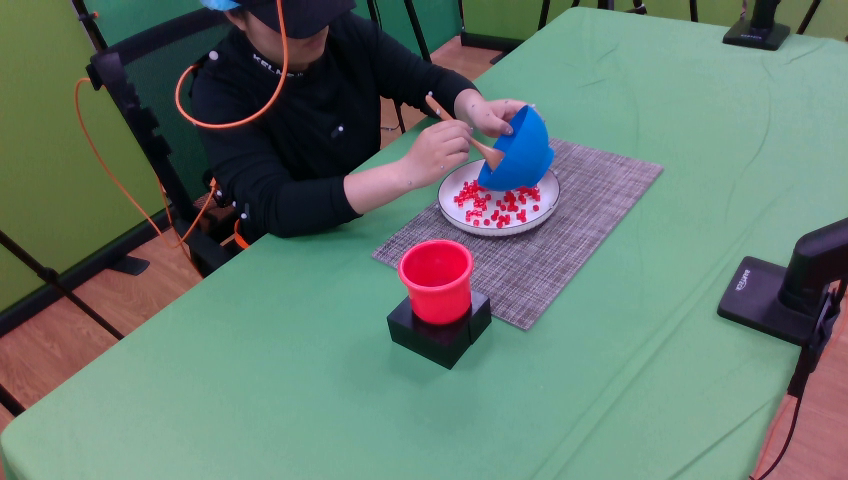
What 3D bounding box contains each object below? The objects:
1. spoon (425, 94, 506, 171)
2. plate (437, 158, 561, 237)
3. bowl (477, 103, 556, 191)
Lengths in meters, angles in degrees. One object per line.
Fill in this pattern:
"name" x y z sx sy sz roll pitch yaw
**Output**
"spoon" 0.073 -0.165 0.969 0.041 0.195 0.021 -57 16 -14
"plate" 0.127 -0.069 1.023 0.207 0.039 0.206 -5 40 5
"bowl" 0.158 -0.134 0.970 0.077 0.151 0.151 30 44 -8
